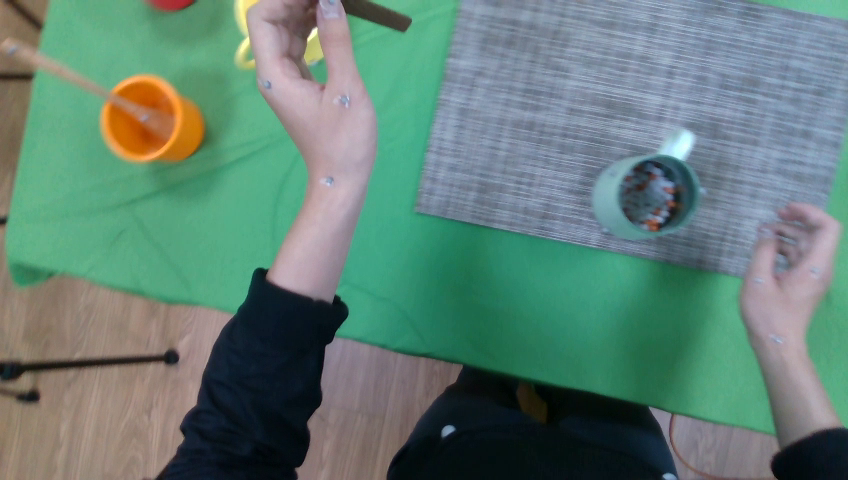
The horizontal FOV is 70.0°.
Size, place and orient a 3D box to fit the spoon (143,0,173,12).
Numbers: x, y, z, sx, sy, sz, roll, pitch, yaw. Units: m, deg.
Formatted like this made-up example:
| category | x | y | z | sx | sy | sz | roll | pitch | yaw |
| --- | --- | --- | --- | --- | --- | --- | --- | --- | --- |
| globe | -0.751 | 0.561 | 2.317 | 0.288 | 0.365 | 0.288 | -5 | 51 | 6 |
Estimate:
| category | x | y | z | sx | sy | sz | roll | pitch | yaw |
| --- | --- | --- | --- | --- | --- | --- | --- | --- | --- |
| spoon | -0.307 | -0.341 | 0.645 | 0.041 | 0.021 | 0.195 | 7 | 138 | 3 |

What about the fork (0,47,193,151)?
| category | x | y | z | sx | sy | sz | roll | pitch | yaw |
| --- | --- | --- | --- | --- | --- | --- | --- | --- | --- |
| fork | -0.352 | -0.150 | 0.655 | 0.209 | 0.018 | 0.028 | 26 | 93 | -40 |

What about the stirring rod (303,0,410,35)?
| category | x | y | z | sx | sy | sz | roll | pitch | yaw |
| --- | --- | --- | --- | --- | --- | --- | --- | --- | --- |
| stirring rod | -0.053 | -0.161 | 0.415 | 0.006 | 0.176 | 0.014 | 45 | 114 | 13 |

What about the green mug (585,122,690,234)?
| category | x | y | z | sx | sy | sz | roll | pitch | yaw |
| --- | --- | --- | --- | --- | --- | --- | --- | --- | --- |
| green mug | 0.231 | -0.067 | 0.638 | 0.092 | 0.105 | 0.125 | 28 | 94 | 3 |

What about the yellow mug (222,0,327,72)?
| category | x | y | z | sx | sy | sz | roll | pitch | yaw |
| --- | --- | --- | --- | --- | --- | --- | --- | --- | --- |
| yellow mug | -0.176 | -0.240 | 0.681 | 0.100 | 0.064 | 0.131 | 44 | 96 | 1 |
